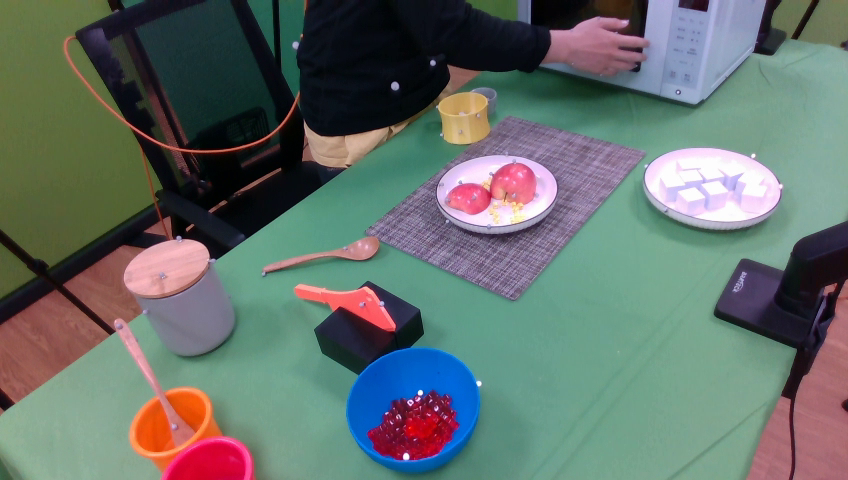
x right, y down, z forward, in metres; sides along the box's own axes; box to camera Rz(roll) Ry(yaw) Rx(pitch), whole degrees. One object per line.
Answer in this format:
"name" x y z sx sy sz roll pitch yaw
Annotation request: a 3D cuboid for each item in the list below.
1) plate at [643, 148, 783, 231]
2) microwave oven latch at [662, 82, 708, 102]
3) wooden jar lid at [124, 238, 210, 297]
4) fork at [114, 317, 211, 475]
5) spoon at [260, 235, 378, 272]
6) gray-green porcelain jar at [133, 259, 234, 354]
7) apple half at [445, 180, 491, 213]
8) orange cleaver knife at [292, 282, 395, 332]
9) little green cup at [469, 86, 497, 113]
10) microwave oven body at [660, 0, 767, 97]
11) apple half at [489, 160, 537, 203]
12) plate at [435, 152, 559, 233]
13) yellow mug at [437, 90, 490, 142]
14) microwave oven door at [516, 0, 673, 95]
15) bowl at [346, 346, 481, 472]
"plate" 0.464 -0.080 0.986 0.207 0.039 0.206 -4 41 4
"microwave oven latch" 0.518 -0.298 1.202 0.078 0.029 0.030 28 53 35
"wooden jar lid" -0.335 0.039 0.794 0.108 0.021 0.108 -2 40 2
"fork" -0.309 0.180 0.708 0.028 0.018 0.207 -29 89 -26
"spoon" -0.168 0.024 0.966 0.194 0.022 0.041 -10 59 -4
"gray-green porcelain jar" -0.328 0.087 0.836 0.106 0.127 0.105 -4 41 4
"apple half" 0.076 -0.083 1.029 0.081 0.033 0.081 -2 42 2
"orange cleaver knife" -0.116 0.091 0.835 0.209 0.077 0.012 2 32 48
"little green cup" 0.124 -0.298 1.284 0.061 0.039 0.061 -4 39 4
"microwave oven body" 0.473 -0.516 1.313 0.438 0.261 0.327 26 51 34
"apple half" 0.154 -0.106 1.030 0.080 0.053 0.075 22 46 31
"plate" 0.124 -0.078 1.026 0.209 0.038 0.208 -4 40 4
"yellow mug" 0.070 -0.257 1.224 0.100 0.064 0.129 -33 43 -25
"microwave oven door" 0.344 -0.458 1.256 0.353 0.245 0.039 26 51 33
"bowl" -0.008 0.205 0.691 0.151 0.077 0.150 -4 40 4
